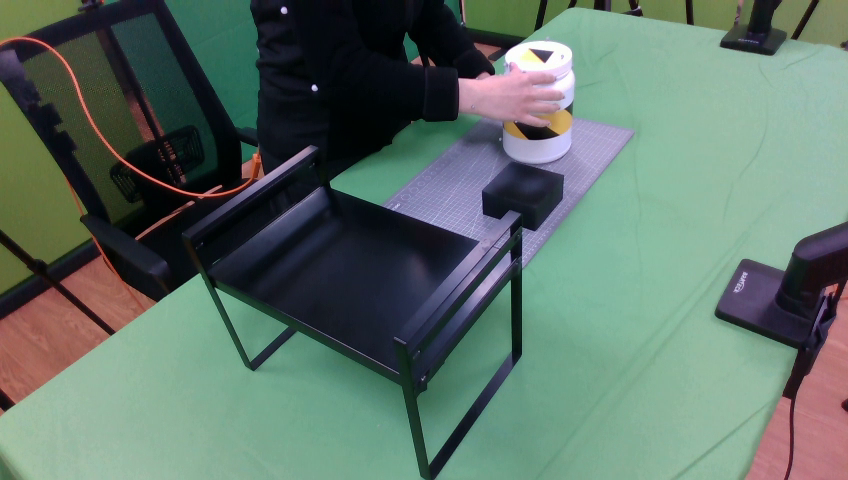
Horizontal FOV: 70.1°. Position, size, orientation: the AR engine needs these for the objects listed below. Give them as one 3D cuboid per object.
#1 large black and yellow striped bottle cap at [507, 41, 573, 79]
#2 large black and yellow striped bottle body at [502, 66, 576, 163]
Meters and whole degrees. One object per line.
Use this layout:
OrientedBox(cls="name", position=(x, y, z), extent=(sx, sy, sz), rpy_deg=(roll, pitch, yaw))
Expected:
OrientedBox(cls="large black and yellow striped bottle cap", position=(0.201, -0.314, 1.052), extent=(0.115, 0.019, 0.114), rpy_deg=(-5, 40, 5))
OrientedBox(cls="large black and yellow striped bottle body", position=(0.210, -0.250, 1.107), extent=(0.131, 0.185, 0.130), rpy_deg=(-5, 41, 5))
